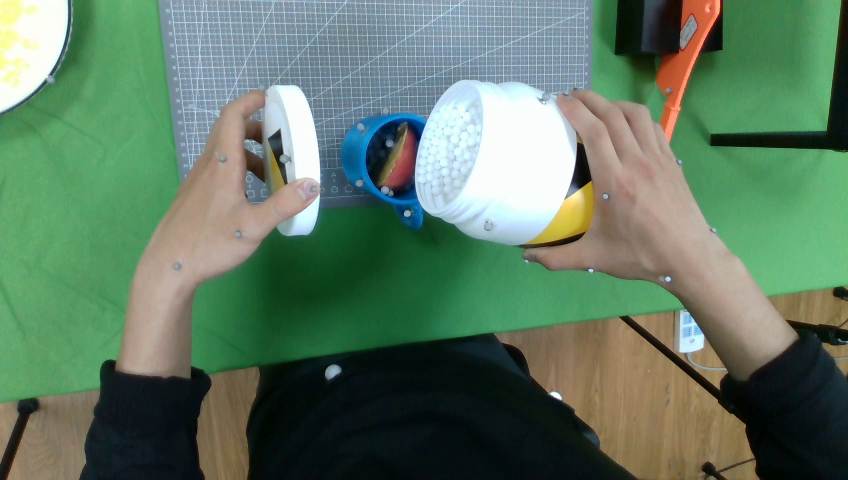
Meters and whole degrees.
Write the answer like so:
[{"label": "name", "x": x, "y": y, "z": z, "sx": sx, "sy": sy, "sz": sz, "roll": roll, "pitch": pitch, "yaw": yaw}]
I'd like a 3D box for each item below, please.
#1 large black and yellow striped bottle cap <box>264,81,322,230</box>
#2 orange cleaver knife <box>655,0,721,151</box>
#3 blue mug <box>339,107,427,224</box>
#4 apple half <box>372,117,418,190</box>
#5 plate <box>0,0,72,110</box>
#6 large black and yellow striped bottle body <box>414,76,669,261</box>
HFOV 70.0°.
[{"label": "large black and yellow striped bottle cap", "x": -0.104, "y": -0.064, "z": 0.469, "sx": 0.019, "sy": 0.114, "sz": 0.115, "roll": -7, "pitch": 103, "yaw": -25}, {"label": "orange cleaver knife", "x": 0.285, "y": -0.193, "z": 0.689, "sx": 0.012, "sy": 0.076, "sz": 0.213, "roll": -2, "pitch": 128, "yaw": -9}, {"label": "blue mug", "x": -0.029, "y": -0.071, "z": 0.595, "sx": 0.082, "sy": 0.105, "sz": 0.117, "roll": -21, "pitch": 107, "yaw": -13}, {"label": "apple half", "x": -0.022, "y": -0.079, "z": 0.590, "sx": 0.033, "sy": 0.081, "sz": 0.081, "roll": 27, "pitch": 92, "yaw": -13}, {"label": "plate", "x": -0.397, "y": -0.202, "z": 0.484, "sx": 0.210, "sy": 0.038, "sz": 0.210, "roll": -4, "pitch": 103, "yaw": -17}, {"label": "large black and yellow striped bottle body", "x": 0.096, "y": -0.059, "z": 0.512, "sx": 0.185, "sy": 0.129, "sz": 0.131, "roll": 11, "pitch": 97, "yaw": -27}]
